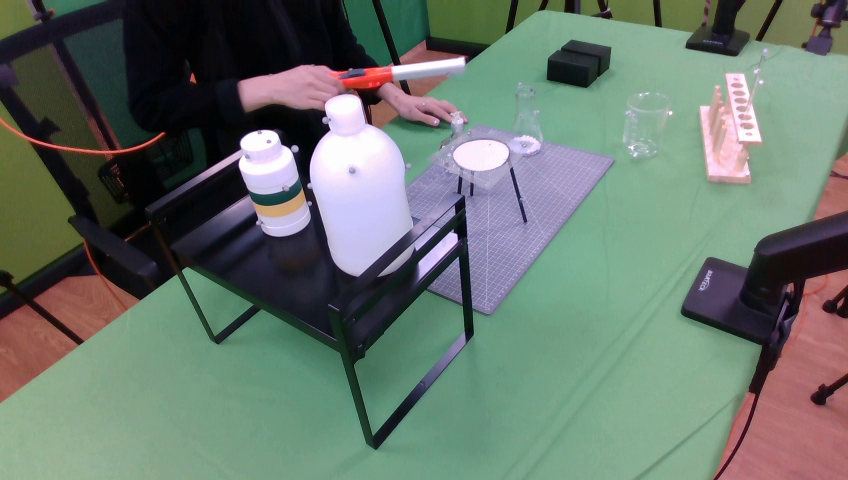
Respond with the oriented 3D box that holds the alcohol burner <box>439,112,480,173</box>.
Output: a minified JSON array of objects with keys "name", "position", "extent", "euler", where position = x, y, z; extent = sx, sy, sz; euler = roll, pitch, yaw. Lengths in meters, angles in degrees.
[{"name":"alcohol burner","position":[0.064,-0.183,1.107],"extent":[0.078,0.119,0.077],"euler":[-4,43,4]}]

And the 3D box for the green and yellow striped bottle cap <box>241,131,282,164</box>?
[{"name":"green and yellow striped bottle cap","position":[-0.187,-0.107,0.695],"extent":[0.045,0.020,0.045],"euler":[-3,39,3]}]

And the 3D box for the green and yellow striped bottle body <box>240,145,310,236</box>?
[{"name":"green and yellow striped bottle body","position":[-0.181,-0.068,0.729],"extent":[0.063,0.120,0.063],"euler":[-4,40,4]}]

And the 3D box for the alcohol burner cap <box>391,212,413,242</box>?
[{"name":"alcohol burner cap","position":[-0.038,-0.023,0.989],"extent":[0.034,0.048,0.033],"euler":[-5,40,4]}]

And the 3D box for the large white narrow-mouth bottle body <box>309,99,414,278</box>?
[{"name":"large white narrow-mouth bottle body","position":[-0.068,-0.057,0.644],"extent":[0.102,0.195,0.101],"euler":[-4,42,4]}]

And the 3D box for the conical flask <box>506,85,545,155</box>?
[{"name":"conical flask","position":[0.190,-0.227,1.134],"extent":[0.075,0.122,0.075],"euler":[-4,41,4]}]

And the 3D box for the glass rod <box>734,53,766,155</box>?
[{"name":"glass rod","position":[0.540,-0.220,1.007],"extent":[0.008,0.201,0.008],"euler":[-5,45,6]}]

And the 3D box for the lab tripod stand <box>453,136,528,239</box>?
[{"name":"lab tripod stand","position":[0.094,-0.086,0.974],"extent":[0.148,0.132,0.147],"euler":[-4,43,4]}]

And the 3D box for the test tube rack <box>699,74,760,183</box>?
[{"name":"test tube rack","position":[0.547,-0.208,1.095],"extent":[0.066,0.085,0.242],"euler":[6,42,16]}]

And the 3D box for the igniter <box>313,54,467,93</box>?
[{"name":"igniter","position":[-0.061,-0.295,1.071],"extent":[0.277,0.057,0.025],"euler":[-10,78,-3]}]

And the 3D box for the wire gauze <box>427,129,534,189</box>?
[{"name":"wire gauze","position":[0.086,-0.131,0.923],"extent":[0.124,0.011,0.122],"euler":[26,52,33]}]

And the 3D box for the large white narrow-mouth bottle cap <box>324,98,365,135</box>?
[{"name":"large white narrow-mouth bottle cap","position":[-0.076,-0.120,0.585],"extent":[0.038,0.024,0.037],"euler":[-3,42,4]}]

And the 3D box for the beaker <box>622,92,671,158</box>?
[{"name":"beaker","position":[0.402,-0.210,1.106],"extent":[0.074,0.101,0.083],"euler":[-9,40,-2]}]
